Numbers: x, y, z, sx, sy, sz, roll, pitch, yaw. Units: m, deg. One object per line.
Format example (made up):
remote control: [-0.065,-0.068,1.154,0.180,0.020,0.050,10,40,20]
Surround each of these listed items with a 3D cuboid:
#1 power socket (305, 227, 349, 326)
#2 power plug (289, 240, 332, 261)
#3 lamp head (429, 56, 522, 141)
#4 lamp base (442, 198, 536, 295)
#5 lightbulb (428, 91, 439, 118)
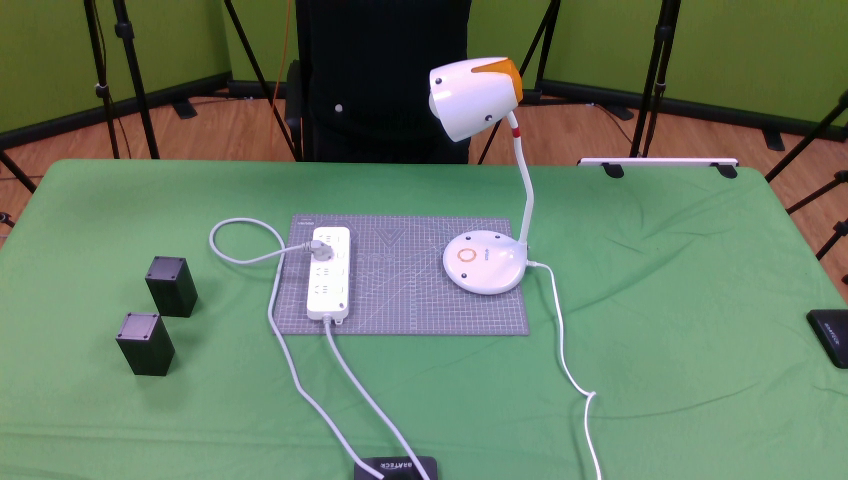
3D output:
power socket: [-0.177,0.058,1.115,0.072,0.033,0.225,-1,46,-4]
power plug: [-0.208,0.022,1.123,0.072,0.053,0.035,5,44,5]
lamp head: [0.082,-0.212,0.882,0.123,0.113,0.111,-13,44,14]
lamp base: [0.131,-0.013,1.106,0.179,0.181,0.159,0,46,-8]
lightbulb: [0.057,-0.213,0.888,0.107,0.060,0.059,-12,40,24]
